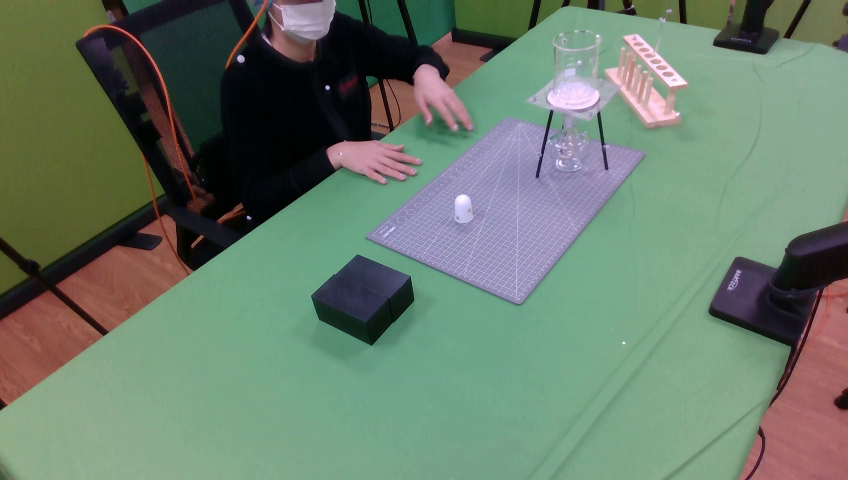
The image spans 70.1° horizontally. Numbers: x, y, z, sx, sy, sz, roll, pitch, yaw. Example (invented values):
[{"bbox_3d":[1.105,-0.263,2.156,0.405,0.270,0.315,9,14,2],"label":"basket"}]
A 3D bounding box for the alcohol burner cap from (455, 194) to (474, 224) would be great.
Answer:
[{"bbox_3d":[0.066,-0.054,1.006,0.034,0.048,0.033,-5,40,5],"label":"alcohol burner cap"}]

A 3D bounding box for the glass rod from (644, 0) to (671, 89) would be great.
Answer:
[{"bbox_3d":[0.463,-0.387,1.204,0.008,0.200,0.008,0,47,1],"label":"glass rod"}]

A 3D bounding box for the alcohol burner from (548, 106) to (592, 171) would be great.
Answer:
[{"bbox_3d":[0.258,-0.183,1.072,0.078,0.119,0.077,-6,41,6],"label":"alcohol burner"}]

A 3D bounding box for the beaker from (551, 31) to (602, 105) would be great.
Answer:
[{"bbox_3d":[0.252,-0.282,0.998,0.084,0.101,0.073,-16,42,-7],"label":"beaker"}]

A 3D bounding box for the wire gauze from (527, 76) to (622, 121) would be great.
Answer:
[{"bbox_3d":[0.255,-0.247,1.031,0.124,0.011,0.122,23,49,34],"label":"wire gauze"}]

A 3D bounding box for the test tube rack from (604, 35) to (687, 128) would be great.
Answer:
[{"bbox_3d":[0.447,-0.330,1.241,0.067,0.085,0.241,-9,41,-2],"label":"test tube rack"}]

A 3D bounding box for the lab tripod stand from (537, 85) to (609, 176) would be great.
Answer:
[{"bbox_3d":[0.259,-0.192,1.068,0.148,0.132,0.147,-4,43,4],"label":"lab tripod stand"}]
